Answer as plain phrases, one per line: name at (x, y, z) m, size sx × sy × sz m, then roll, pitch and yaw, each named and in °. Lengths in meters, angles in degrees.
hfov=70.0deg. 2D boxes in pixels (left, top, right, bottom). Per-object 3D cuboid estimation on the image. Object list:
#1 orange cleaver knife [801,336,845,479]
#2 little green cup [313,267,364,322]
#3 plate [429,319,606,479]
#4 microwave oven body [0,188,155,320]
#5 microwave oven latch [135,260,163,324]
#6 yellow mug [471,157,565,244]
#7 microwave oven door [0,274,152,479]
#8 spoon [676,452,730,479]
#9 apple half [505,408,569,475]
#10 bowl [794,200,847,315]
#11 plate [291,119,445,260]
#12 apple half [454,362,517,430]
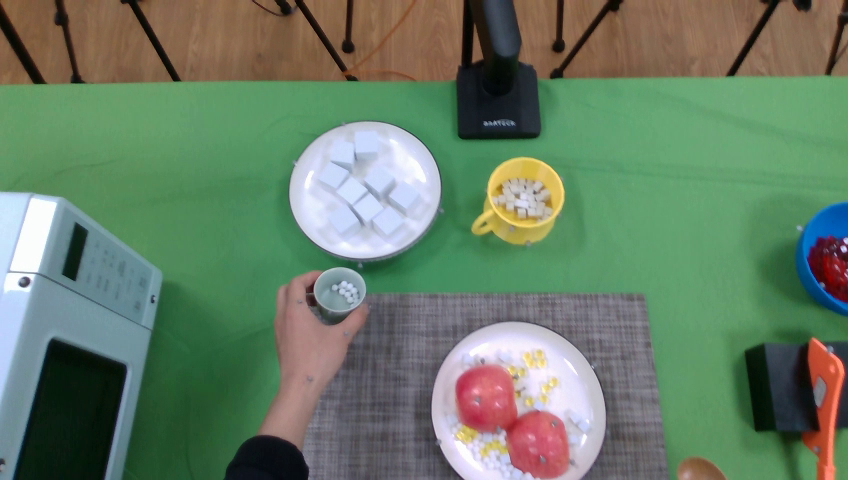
orange cleaver knife at (0.456, 0.219, 0.699) m, size 0.012 × 0.077 × 0.211 m, roll 1°, pitch 94°, yaw 5°
little green cup at (-0.104, 0.068, 0.727) m, size 0.062 × 0.039 × 0.061 m, roll 6°, pitch 55°, yaw -9°
plate at (0.110, 0.200, 0.729) m, size 0.209 × 0.038 × 0.207 m, roll 0°, pitch 71°, yaw 0°
microwave oven body at (-0.512, 0.189, 0.618) m, size 0.326 × 0.261 × 0.439 m, roll 3°, pitch 71°, yaw 1°
microwave oven latch at (-0.352, 0.065, 0.765) m, size 0.030 × 0.029 × 0.078 m, roll 4°, pitch 71°, yaw 1°
yellow mug at (0.119, -0.044, 0.806) m, size 0.131 × 0.064 × 0.099 m, roll -30°, pitch 72°, yaw -9°
microwave oven door at (-0.369, 0.235, 0.595) m, size 0.039 × 0.245 × 0.353 m, roll 3°, pitch 70°, yaw 2°
spoon at (0.328, 0.280, 0.583) m, size 0.041 × 0.022 × 0.191 m, roll -52°, pitch 48°, yaw 5°
apple half at (0.134, 0.235, 0.709) m, size 0.081 × 0.033 × 0.080 m, roll -1°, pitch 68°, yaw 2°
bowl at (0.535, 0.033, 0.768) m, size 0.151 × 0.077 × 0.150 m, roll 0°, pitch 70°, yaw 1°
plate at (-0.075, -0.068, 0.831) m, size 0.208 × 0.039 × 0.206 m, roll 0°, pitch 70°, yaw 1°
apple half at (0.073, 0.183, 0.718) m, size 0.074 × 0.054 × 0.080 m, roll -2°, pitch 71°, yaw 2°
